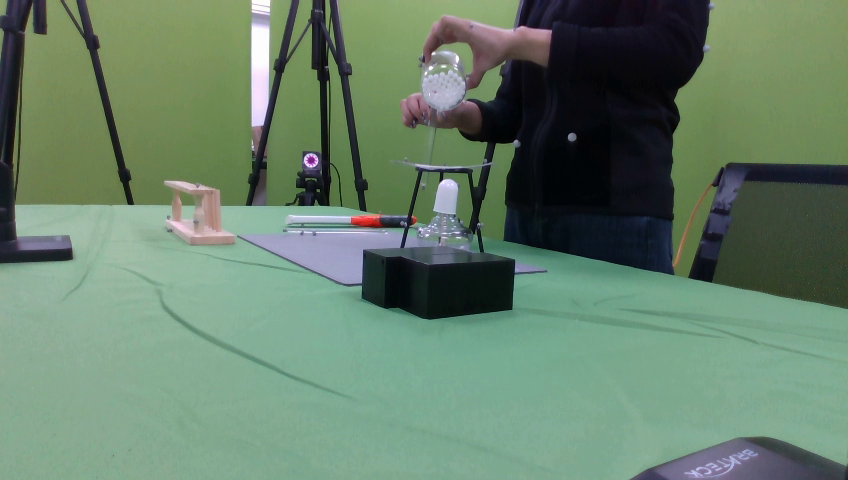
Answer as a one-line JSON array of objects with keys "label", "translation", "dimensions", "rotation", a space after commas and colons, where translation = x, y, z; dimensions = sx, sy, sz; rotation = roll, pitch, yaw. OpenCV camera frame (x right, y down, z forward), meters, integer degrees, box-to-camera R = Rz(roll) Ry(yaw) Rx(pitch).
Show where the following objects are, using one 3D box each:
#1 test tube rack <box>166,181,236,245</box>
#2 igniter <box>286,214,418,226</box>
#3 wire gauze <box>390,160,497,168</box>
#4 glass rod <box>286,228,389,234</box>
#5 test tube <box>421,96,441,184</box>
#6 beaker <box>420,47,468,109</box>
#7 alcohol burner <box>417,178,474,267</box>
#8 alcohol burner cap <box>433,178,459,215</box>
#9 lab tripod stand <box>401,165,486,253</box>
[{"label": "test tube rack", "translation": [-0.383, -0.051, 1.024], "dimensions": [0.067, 0.085, 0.241], "rotation": [-2, 9, -31]}, {"label": "igniter", "translation": [-0.146, -0.043, 1.263], "dimensions": [0.278, 0.025, 0.057], "rotation": [-1, -2, -24]}, {"label": "wire gauze", "translation": [0.027, -0.115, 0.919], "dimensions": [0.122, 0.011, 0.124], "rotation": [-4, 10, -34]}, {"label": "glass rod", "translation": [-0.154, -0.016, 1.101], "dimensions": [0.201, 0.008, 0.008], "rotation": [1, 6, -31]}, {"label": "test tube", "translation": [0.010, -0.165, 1.012], "dimensions": [0.017, 0.150, 0.017], "rotation": [8, 21, -3]}, {"label": "beaker", "translation": [0.030, -0.246, 0.928], "dimensions": [0.074, 0.084, 0.100], "rotation": [14, 27, -6]}, {"label": "alcohol burner", "translation": [0.029, -0.024, 0.810], "dimensions": [0.078, 0.119, 0.078], "rotation": [1, 8, 0]}, {"label": "alcohol burner cap", "translation": [0.031, -0.059, 0.806], "dimensions": [0.034, 0.048, 0.034], "rotation": [9, 10, -1]}, {"label": "lab tripod stand", "translation": [0.028, -0.049, 0.930], "dimensions": [0.148, 0.131, 0.148], "rotation": [3, 9, 0]}]
